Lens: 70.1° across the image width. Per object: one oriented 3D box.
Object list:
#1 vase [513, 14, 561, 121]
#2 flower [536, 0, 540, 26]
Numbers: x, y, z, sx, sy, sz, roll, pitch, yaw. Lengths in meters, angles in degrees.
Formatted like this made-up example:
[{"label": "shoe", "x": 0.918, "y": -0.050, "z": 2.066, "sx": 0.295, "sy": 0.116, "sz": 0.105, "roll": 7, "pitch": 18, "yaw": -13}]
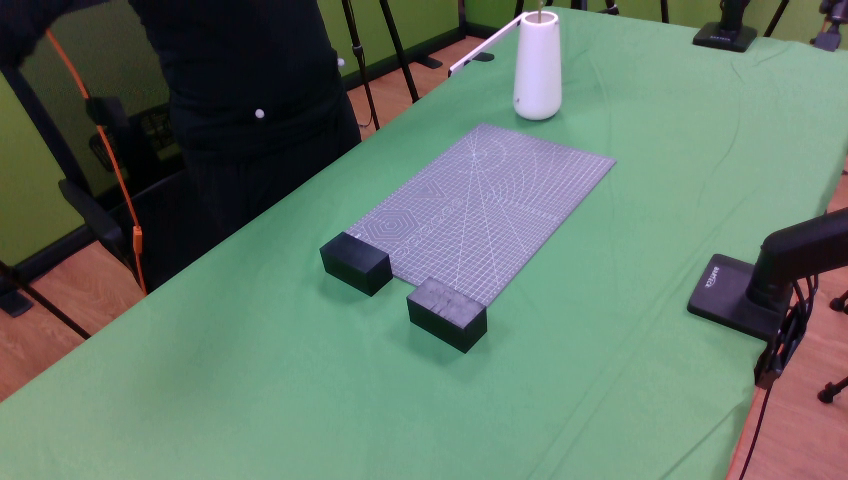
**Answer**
[{"label": "vase", "x": 0.225, "y": -0.336, "z": 1.196, "sx": 0.098, "sy": 0.201, "sz": 0.097, "roll": -5, "pitch": 42, "yaw": 5}, {"label": "flower", "x": 0.213, "y": -0.386, "z": 1.130, "sx": 0.044, "sy": 0.363, "sz": 0.038, "roll": 10, "pitch": 62, "yaw": 14}]
